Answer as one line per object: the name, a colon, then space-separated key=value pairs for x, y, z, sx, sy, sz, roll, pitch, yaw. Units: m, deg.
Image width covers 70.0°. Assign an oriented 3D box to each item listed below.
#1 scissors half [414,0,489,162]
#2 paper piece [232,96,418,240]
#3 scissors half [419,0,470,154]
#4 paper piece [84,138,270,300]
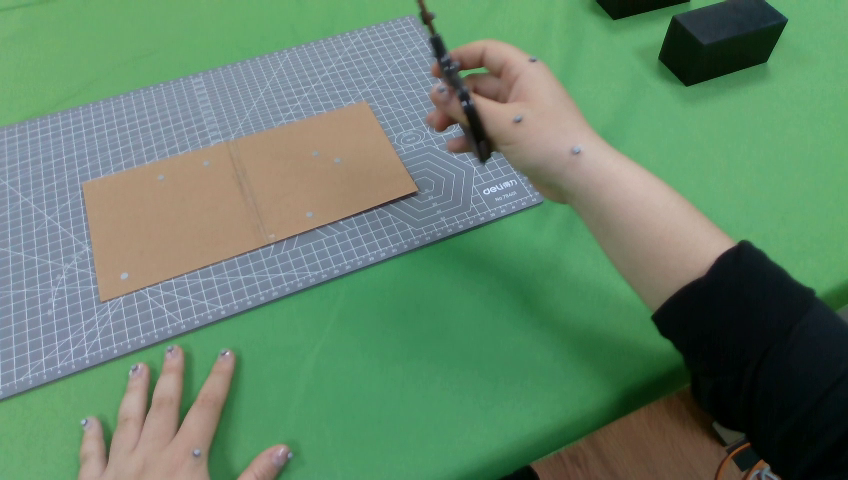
scissors half: x=0.006 y=-0.133 z=0.390 sx=0.013 sy=0.040 sz=0.175 roll=-24 pitch=98 yaw=0
paper piece: x=-0.092 y=-0.072 z=0.548 sx=0.135 sy=0.004 sz=0.134 roll=-21 pitch=56 yaw=-12
scissors half: x=0.005 y=-0.138 z=0.409 sx=0.013 sy=0.176 sz=0.039 roll=-22 pitch=23 yaw=5
paper piece: x=-0.215 y=-0.026 z=0.519 sx=0.138 sy=0.009 sz=0.134 roll=-20 pitch=53 yaw=-12
